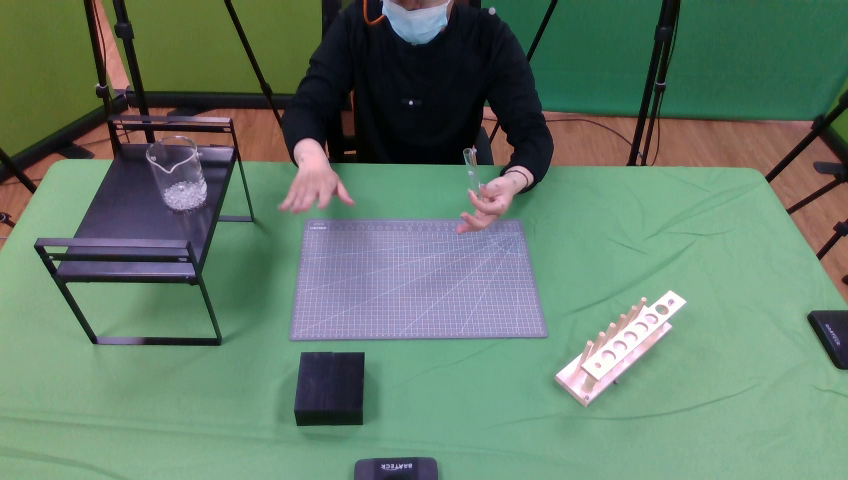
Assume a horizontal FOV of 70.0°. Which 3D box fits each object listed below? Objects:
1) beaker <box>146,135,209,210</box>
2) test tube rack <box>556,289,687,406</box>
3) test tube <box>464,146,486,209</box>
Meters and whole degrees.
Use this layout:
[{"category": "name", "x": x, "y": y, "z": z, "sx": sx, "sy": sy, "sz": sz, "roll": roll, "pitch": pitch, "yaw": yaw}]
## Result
[{"category": "beaker", "x": -0.387, "y": -0.102, "z": 0.961, "sx": 0.074, "sy": 0.101, "sz": 0.083, "roll": -5, "pitch": 48, "yaw": -7}, {"category": "test tube rack", "x": 0.332, "y": 0.165, "z": 1.014, "sx": 0.242, "sy": 0.085, "sz": 0.066, "roll": -31, "pitch": 55, "yaw": -28}, {"category": "test tube", "x": 0.090, "y": -0.104, "z": 1.051, "sx": 0.017, "sy": 0.151, "sz": 0.017, "roll": -8, "pitch": 51, "yaw": 10}]
